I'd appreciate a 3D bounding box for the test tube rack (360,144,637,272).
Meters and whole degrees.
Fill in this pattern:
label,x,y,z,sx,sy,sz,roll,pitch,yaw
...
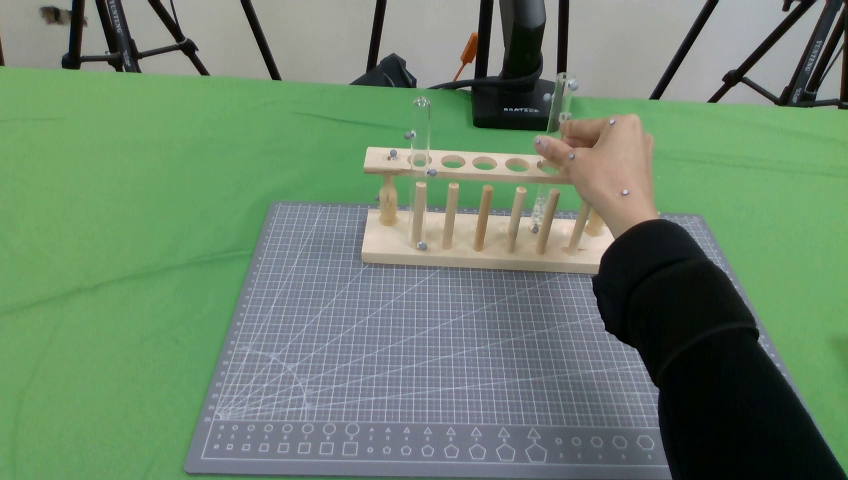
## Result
label,x,y,z,sx,sy,sz,roll,pitch,yaw
test tube rack,0.065,-0.029,0.556,0.242,0.086,0.066,3,41,-1

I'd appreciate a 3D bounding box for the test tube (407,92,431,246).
label,x,y,z,sx,sy,sz,roll,pitch,yaw
test tube,-0.005,-0.055,0.513,0.017,0.152,0.017,2,41,-1

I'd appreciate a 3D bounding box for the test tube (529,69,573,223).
label,x,y,z,sx,sy,sz,roll,pitch,yaw
test tube,0.111,-0.078,0.538,0.017,0.151,0.017,2,38,-1
